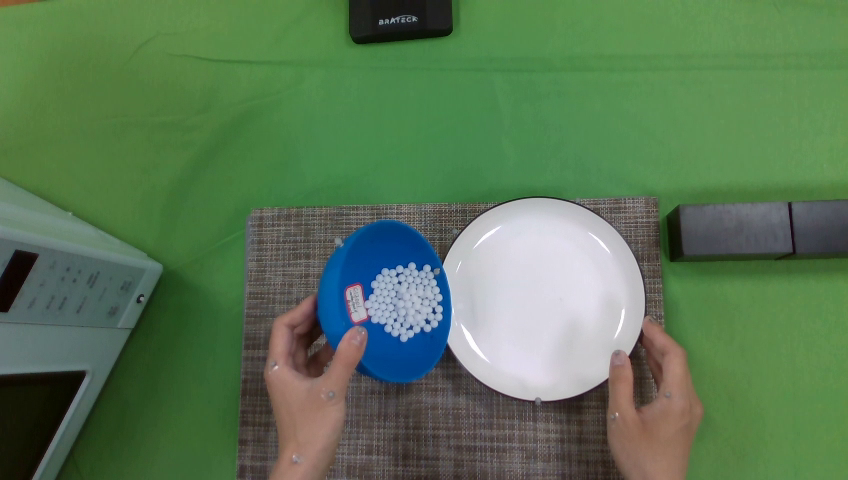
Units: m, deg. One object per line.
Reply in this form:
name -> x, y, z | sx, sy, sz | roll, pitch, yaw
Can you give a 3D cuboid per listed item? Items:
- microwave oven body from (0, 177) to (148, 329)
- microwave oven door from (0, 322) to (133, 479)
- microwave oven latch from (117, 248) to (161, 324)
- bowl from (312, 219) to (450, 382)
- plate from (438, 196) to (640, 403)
microwave oven body -> -0.543, 0.133, 0.584 | 0.325, 0.261, 0.441 | 25, 86, 10
microwave oven door -> -0.431, 0.230, 0.548 | 0.039, 0.245, 0.355 | 25, 85, 12
microwave oven latch -> -0.320, 0.052, 0.666 | 0.030, 0.029, 0.079 | 27, 86, 11
bowl -> -0.053, 0.060, 0.575 | 0.076, 0.152, 0.150 | -14, 77, 40
plate -> 0.111, 0.060, 0.621 | 0.207, 0.039, 0.207 | -1, 81, 7
